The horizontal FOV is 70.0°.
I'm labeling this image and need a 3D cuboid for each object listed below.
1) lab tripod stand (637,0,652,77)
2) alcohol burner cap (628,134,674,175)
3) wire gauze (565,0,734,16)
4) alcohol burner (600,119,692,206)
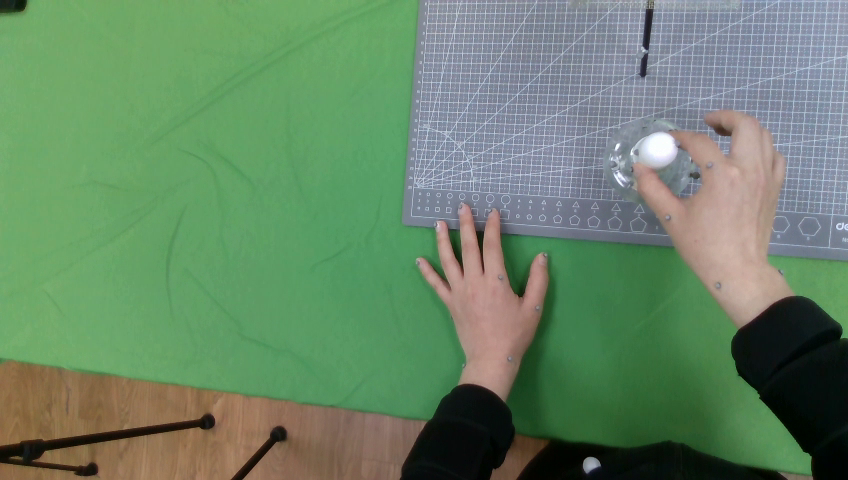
[{"bbox_3d":[0.187,-0.229,0.518,0.148,0.132,0.148,0,91,12],"label":"lab tripod stand"},{"bbox_3d":[0.186,-0.071,0.491,0.034,0.048,0.034,0,91,11],"label":"alcohol burner cap"},{"bbox_3d":[0.171,-0.231,0.455,0.125,0.011,0.121,4,94,11],"label":"wire gauze"},{"bbox_3d":[0.195,-0.070,0.526,0.078,0.119,0.078,0,89,12],"label":"alcohol burner"}]
